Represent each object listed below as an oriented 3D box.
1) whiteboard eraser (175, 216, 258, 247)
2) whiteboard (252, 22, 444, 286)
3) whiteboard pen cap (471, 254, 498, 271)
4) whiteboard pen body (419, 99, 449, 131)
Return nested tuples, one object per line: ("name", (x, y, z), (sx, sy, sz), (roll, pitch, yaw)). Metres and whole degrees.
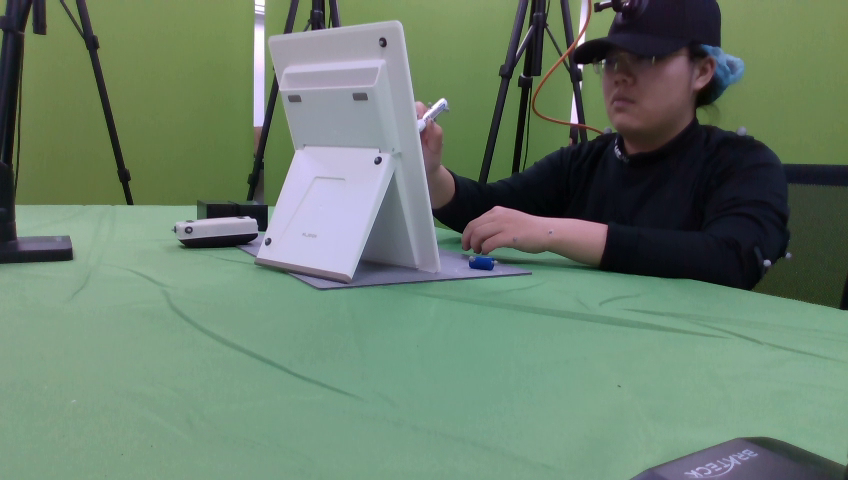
("whiteboard eraser", (-0.314, -0.012, 0.914), (0.113, 0.042, 0.055), (-5, 12, -30))
("whiteboard", (-0.125, -0.081, 0.714), (0.216, 0.305, 0.144), (9, 29, 36))
("whiteboard pen cap", (0.081, 0.031, 0.800), (0.033, 0.018, 0.018), (19, 3, -17))
("whiteboard pen body", (0.008, -0.177, 0.867), (0.017, 0.017, 0.141), (6, 30, 20))
